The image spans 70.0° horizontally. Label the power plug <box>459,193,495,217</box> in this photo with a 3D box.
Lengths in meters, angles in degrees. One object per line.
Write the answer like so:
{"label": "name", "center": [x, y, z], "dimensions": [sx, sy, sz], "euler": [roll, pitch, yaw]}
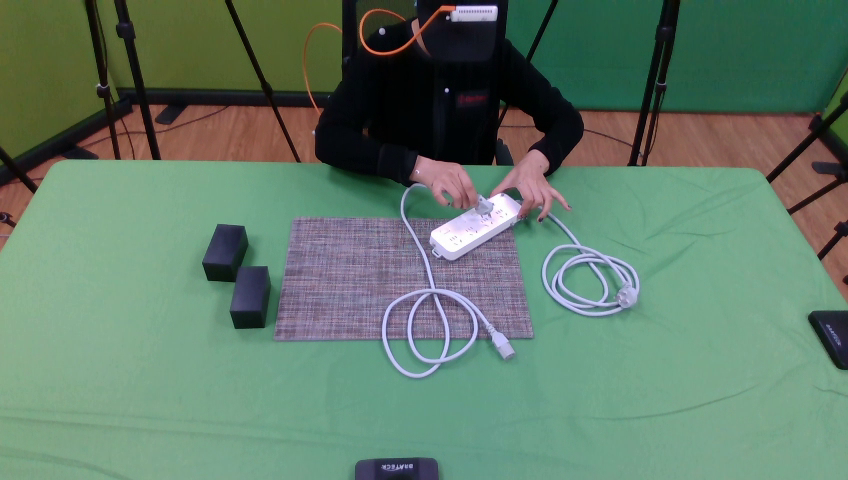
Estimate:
{"label": "power plug", "center": [0.110, -0.072, 1.200], "dimensions": [0.035, 0.053, 0.072], "euler": [-40, 42, -20]}

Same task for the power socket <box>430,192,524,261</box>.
{"label": "power socket", "center": [0.109, -0.030, 1.219], "dimensions": [0.227, 0.033, 0.072], "euler": [-30, 55, -28]}
